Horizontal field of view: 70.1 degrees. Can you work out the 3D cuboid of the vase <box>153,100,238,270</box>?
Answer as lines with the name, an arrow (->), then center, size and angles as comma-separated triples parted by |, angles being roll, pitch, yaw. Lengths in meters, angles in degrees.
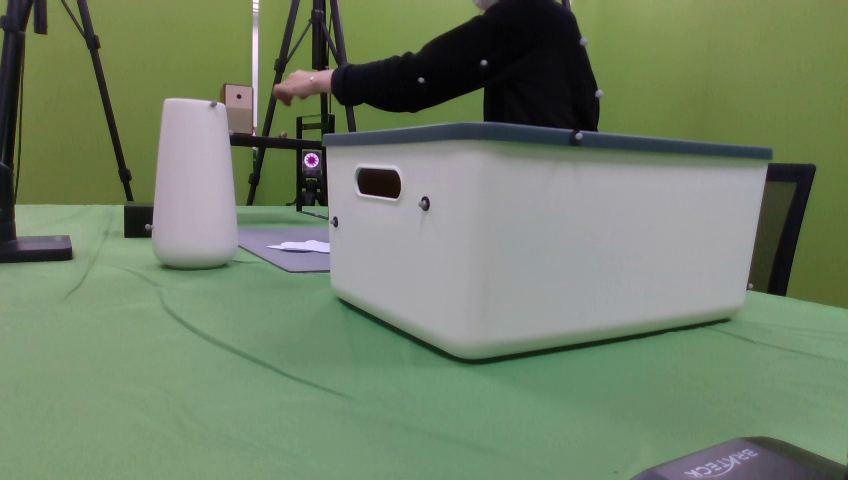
vase -> -0.278, -0.066, 0.736 | 0.098, 0.200, 0.098 | 2, 9, 0

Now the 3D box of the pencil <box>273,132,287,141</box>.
pencil -> -0.333, -0.236, 1.391 | 0.012, 0.012, 0.193 | 0, 5, -21

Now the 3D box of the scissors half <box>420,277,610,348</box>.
scissors half -> 0.076, 0.067, 0.533 | 0.174, 0.040, 0.013 | 14, 50, 24

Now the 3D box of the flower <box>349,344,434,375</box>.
flower -> 0.103, 0.072, 0.592 | 0.362, 0.044, 0.038 | -17, 44, -9

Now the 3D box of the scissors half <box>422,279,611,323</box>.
scissors half -> 0.073, 0.057, 0.524 | 0.174, 0.040, 0.013 | 5, 39, 30

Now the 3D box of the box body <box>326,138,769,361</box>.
box body -> 0.112, -0.010, 0.583 | 0.366, 0.160, 0.253 | -2, 9, -33

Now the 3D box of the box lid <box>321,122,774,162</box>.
box lid -> 0.114, -0.085, 0.573 | 0.373, 0.015, 0.262 | -2, 7, -33

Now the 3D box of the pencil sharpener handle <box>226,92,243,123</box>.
pencil sharpener handle -> -0.431, -0.301, 1.375 | 0.036, 0.068, 0.030 | -14, 13, -24

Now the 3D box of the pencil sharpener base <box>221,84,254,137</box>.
pencil sharpener base -> -0.411, -0.282, 1.330 | 0.061, 0.107, 0.076 | -1, 8, -26
